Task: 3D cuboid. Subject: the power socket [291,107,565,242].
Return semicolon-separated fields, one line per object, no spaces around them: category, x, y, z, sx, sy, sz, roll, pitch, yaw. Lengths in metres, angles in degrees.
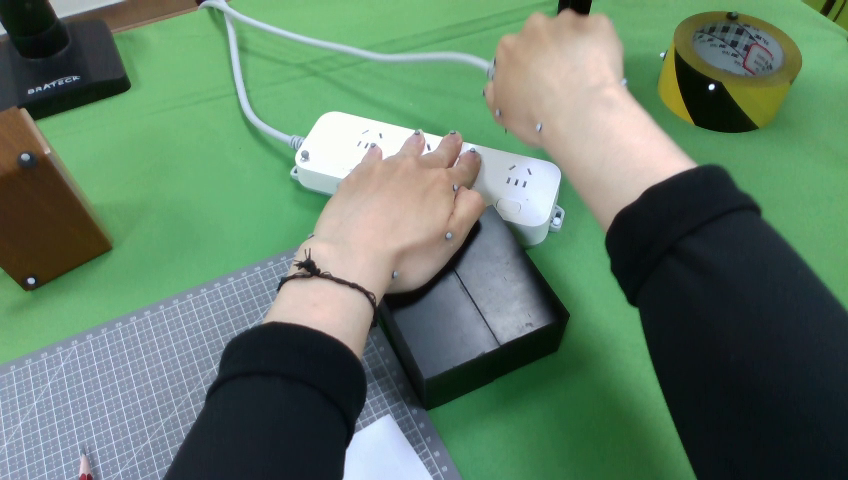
power socket;0.003;-0.056;0.489;0.226;0.033;0.072;15;55;12

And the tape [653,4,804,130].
tape;0.274;-0.159;0.550;0.117;0.053;0.115;0;55;1

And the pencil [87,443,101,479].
pencil;-0.173;0.196;0.319;0.012;0.012;0.192;-17;53;-11

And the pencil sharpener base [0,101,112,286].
pencil sharpener base;-0.284;-0.028;0.423;0.076;0.108;0.061;-34;61;-21

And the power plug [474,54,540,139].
power plug;0.070;-0.119;0.502;0.035;0.053;0.072;-16;53;-3
